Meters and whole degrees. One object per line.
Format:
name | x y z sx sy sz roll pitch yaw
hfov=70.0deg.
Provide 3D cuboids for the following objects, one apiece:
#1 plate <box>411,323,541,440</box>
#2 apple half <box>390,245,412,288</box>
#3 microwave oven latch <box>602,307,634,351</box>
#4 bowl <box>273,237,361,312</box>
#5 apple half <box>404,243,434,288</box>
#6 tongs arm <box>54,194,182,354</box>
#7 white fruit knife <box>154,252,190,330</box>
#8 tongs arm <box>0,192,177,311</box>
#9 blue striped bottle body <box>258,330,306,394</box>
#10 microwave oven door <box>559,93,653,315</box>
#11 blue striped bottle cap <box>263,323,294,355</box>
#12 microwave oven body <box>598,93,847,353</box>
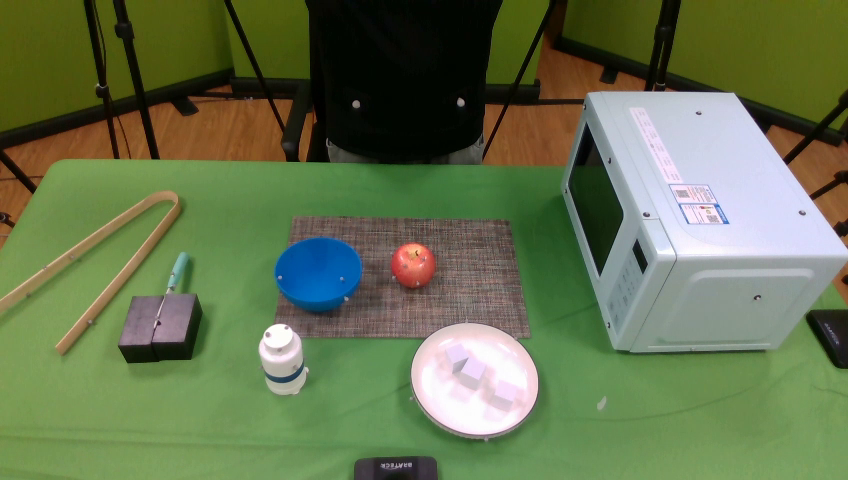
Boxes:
plate | 0.082 0.228 0.976 0.208 0.039 0.206 2 45 -2
apple half | -0.046 0.053 1.105 0.033 0.081 0.080 -8 47 -16
microwave oven latch | 0.332 0.153 1.044 0.030 0.029 0.078 -1 45 -4
bowl | -0.186 0.075 1.069 0.151 0.077 0.150 3 46 -3
apple half | -0.009 0.047 1.115 0.053 0.075 0.080 -8 44 -16
tongs arm | -0.543 0.048 1.108 0.028 0.028 0.385 11 45 10
white fruit knife | -0.438 0.083 1.053 0.016 0.027 0.206 -2 35 -5
tongs arm | -0.618 0.019 1.124 0.050 0.026 0.384 24 47 16
blue striped bottle body | -0.220 0.182 0.937 0.063 0.121 0.062 2 46 -2
microwave oven door | 0.327 -0.074 1.123 0.039 0.245 0.353 -1 46 -5
blue striped bottle cap | -0.217 0.146 0.900 0.044 0.021 0.044 1 46 -1
microwave oven body | 0.475 -0.041 1.110 0.326 0.261 0.438 -1 45 -4
